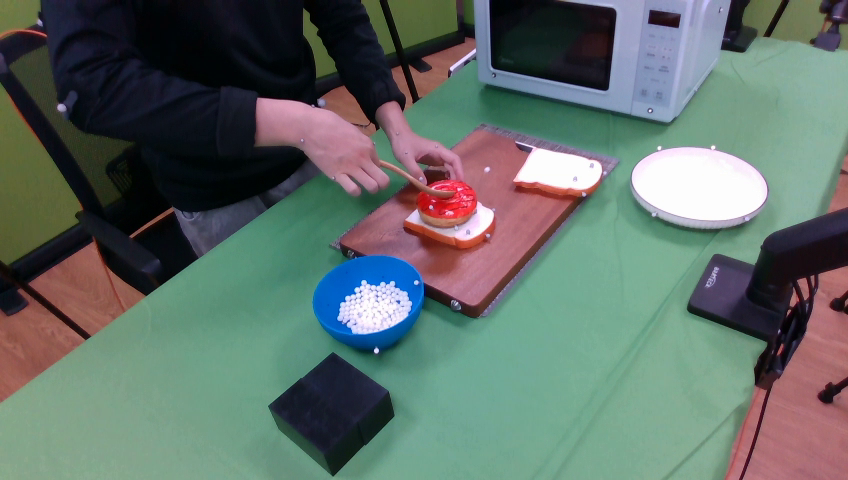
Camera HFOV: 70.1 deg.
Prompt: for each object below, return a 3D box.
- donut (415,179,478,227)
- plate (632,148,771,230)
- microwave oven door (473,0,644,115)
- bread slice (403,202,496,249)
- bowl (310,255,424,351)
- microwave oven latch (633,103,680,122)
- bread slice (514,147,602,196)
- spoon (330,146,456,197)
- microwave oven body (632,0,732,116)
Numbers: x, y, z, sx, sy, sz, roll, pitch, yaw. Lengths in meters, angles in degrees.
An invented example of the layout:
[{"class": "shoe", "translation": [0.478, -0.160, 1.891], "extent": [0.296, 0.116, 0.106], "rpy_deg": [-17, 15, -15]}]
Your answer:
[{"class": "donut", "translation": [0.036, -0.058, 0.944], "extent": [0.099, 0.048, 0.098], "rpy_deg": [-5, 40, 5]}, {"class": "plate", "translation": [0.447, -0.081, 0.988], "extent": [0.207, 0.039, 0.206], "rpy_deg": [-4, 40, 4]}, {"class": "microwave oven door", "translation": [0.257, -0.396, 1.199], "extent": [0.353, 0.245, 0.039], "rpy_deg": [21, 48, 29]}, {"class": "bread slice", "translation": [0.048, -0.034, 0.961], "extent": [0.130, 0.019, 0.105], "rpy_deg": [22, 49, 31]}, {"class": "bowl", "translation": [-0.071, 0.097, 0.821], "extent": [0.151, 0.077, 0.150], "rpy_deg": [-4, 40, 4]}, {"class": "microwave oven latch", "translation": [0.444, -0.249, 1.157], "extent": [0.078, 0.029, 0.030], "rpy_deg": [21, 49, 30]}, {"class": "bread slice", "translation": [0.233, -0.115, 1.027], "extent": [0.133, 0.018, 0.107], "rpy_deg": [13, 45, 20]}, {"class": "spoon", "translation": [-0.045, -0.102, 0.889], "extent": [0.194, 0.021, 0.041], "rpy_deg": [24, 11, -7]}, {"class": "microwave oven body", "translation": [0.377, -0.462, 1.267], "extent": [0.438, 0.261, 0.327], "rpy_deg": [21, 49, 30]}]
